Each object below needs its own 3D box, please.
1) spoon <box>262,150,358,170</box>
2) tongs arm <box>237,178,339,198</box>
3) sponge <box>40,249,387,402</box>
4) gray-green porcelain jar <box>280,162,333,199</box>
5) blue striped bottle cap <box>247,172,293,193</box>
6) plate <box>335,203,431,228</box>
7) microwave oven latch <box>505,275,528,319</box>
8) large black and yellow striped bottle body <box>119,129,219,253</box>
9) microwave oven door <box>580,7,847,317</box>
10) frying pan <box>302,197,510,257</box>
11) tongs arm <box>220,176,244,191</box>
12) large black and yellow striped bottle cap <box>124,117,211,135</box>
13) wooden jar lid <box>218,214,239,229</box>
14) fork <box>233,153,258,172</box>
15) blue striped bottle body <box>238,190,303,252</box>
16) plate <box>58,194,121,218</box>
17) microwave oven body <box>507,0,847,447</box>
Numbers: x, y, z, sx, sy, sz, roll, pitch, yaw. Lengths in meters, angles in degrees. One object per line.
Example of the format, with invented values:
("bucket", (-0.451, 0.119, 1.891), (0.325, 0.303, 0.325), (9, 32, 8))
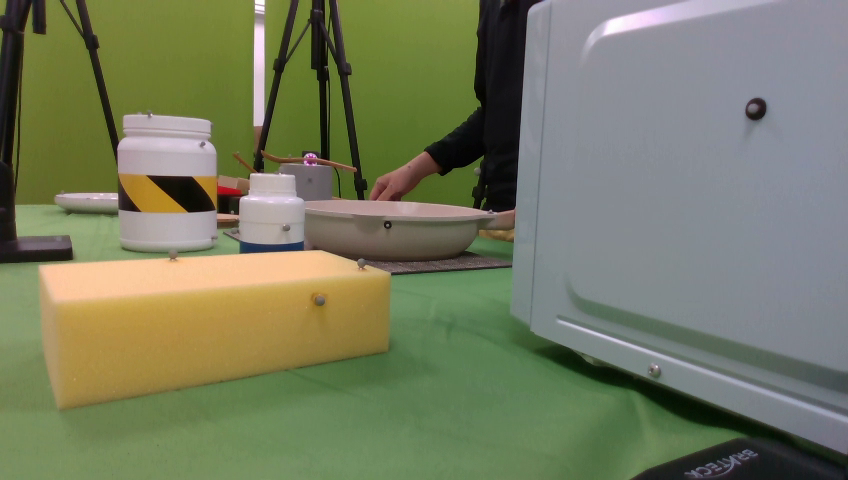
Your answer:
("spoon", (-0.229, -0.162, 1.222), (0.194, 0.021, 0.041), (4, 6, -16))
("tongs arm", (-0.242, -0.095, 1.374), (0.387, 0.026, 0.050), (9, 0, -37))
("sponge", (-0.142, 0.047, 0.419), (0.208, 0.061, 0.117), (-3, 8, -36))
("gray-green porcelain jar", (-0.238, -0.092, 1.221), (0.106, 0.126, 0.106), (2, 7, 0))
("blue striped bottle cap", (-0.152, -0.057, 0.598), (0.044, 0.020, 0.044), (3, 7, 0))
("plate", (-0.089, -0.053, 1.309), (0.208, 0.039, 0.207), (2, 8, 0))
("microwave oven latch", (0.100, 0.041, 0.471), (0.079, 0.029, 0.030), (-1, 7, -28))
("large black and yellow striped bottle body", (-0.367, -0.080, 0.876), (0.131, 0.184, 0.130), (2, 7, 0))
("microwave oven door", (0.295, -0.067, 0.570), (0.358, 0.243, 0.039), (-3, 9, -31))
("frying pan", (0.050, -0.035, 0.915), (0.487, 0.102, 0.307), (-5, 7, 10))
("tongs arm", (-0.286, -0.104, 1.445), (0.389, 0.027, 0.028), (9, -4, -23))
("large black and yellow striped bottle cap", (-0.366, -0.163, 0.866), (0.115, 0.019, 0.115), (3, 7, 0))
("wooden jar lid", (-0.404, -0.037, 1.169), (0.108, 0.020, 0.108), (3, 7, 0))
("fork", (-0.396, -0.144, 1.486), (0.028, 0.018, 0.208), (20, -26, 45))
("blue striped bottle body", (-0.153, -0.007, 0.606), (0.063, 0.120, 0.063), (2, 8, 0))
("plate", (-0.671, -0.074, 1.310), (0.209, 0.038, 0.209), (2, 8, 0))
("microwave oven body", (0.331, -0.042, 0.425), (0.444, 0.260, 0.324), (-2, 8, -31))
